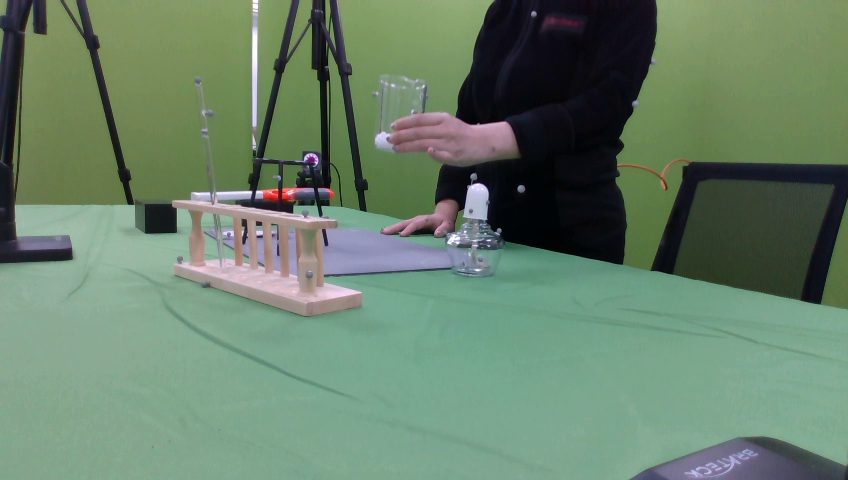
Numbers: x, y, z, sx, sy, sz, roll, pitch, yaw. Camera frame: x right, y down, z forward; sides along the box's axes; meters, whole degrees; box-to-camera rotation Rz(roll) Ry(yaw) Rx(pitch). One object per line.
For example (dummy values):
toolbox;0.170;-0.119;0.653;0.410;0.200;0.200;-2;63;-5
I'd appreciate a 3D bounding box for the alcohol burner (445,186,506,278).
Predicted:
alcohol burner;0.066;-0.013;0.771;0.078;0.119;0.078;0;7;0

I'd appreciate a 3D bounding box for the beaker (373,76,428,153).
beaker;-0.035;-0.178;0.869;0.074;0.100;0.083;4;5;-23

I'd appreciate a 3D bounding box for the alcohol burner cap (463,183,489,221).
alcohol burner cap;0.067;-0.049;0.765;0.034;0.048;0.034;5;5;0

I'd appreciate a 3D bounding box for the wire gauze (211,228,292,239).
wire gauze;-0.298;-0.013;1.039;0.122;0.011;0.124;-2;6;-27

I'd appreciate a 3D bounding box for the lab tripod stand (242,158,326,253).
lab tripod stand;-0.207;-0.054;0.895;0.148;0.131;0.148;3;5;0

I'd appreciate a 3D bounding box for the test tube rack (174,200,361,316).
test tube rack;-0.169;0.009;0.622;0.241;0.085;0.067;9;9;41

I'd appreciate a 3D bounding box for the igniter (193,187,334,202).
igniter;-0.316;-0.090;1.213;0.278;0.025;0.057;-5;13;-31

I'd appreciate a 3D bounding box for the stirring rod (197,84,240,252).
stirring rod;-0.212;-0.072;0.625;0.006;0.176;0.014;-14;12;-22
